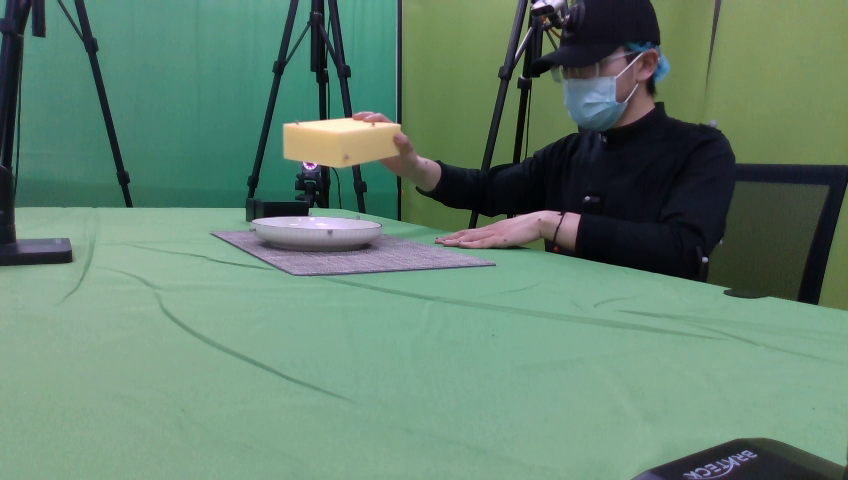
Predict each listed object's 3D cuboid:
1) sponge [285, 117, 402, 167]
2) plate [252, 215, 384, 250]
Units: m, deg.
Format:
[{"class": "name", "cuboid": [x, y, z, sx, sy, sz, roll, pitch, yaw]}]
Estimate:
[{"class": "sponge", "cuboid": [-0.140, -0.182, 1.097, 0.118, 0.061, 0.207, 11, 19, 24]}, {"class": "plate", "cuboid": [-0.169, -0.012, 0.976, 0.208, 0.039, 0.207, 2, 7, 0]}]
